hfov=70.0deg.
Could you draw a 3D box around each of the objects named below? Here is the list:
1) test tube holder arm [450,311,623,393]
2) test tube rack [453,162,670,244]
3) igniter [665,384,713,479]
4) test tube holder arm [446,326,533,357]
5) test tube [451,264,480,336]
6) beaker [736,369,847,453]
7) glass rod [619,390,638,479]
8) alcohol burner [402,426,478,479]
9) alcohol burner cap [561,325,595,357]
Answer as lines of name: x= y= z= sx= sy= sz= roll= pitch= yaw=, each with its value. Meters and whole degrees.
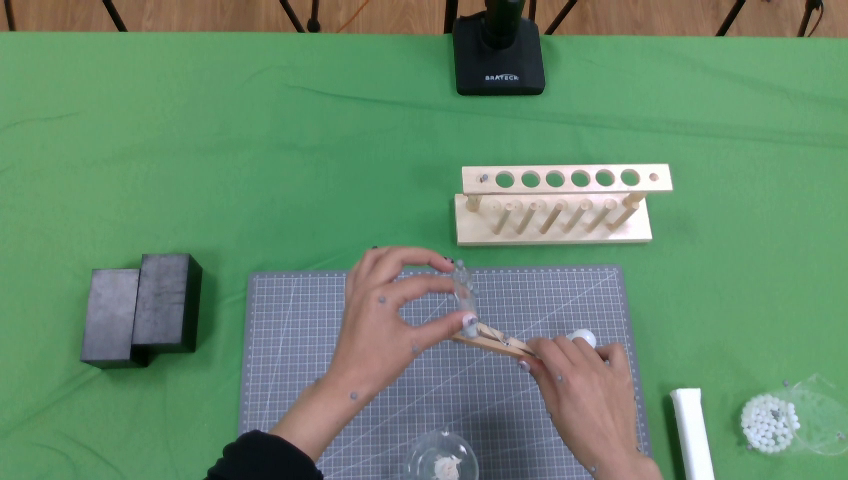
test tube holder arm: x=0.109 y=0.109 z=0.594 sx=0.178 sy=0.015 sz=0.013 roll=22 pitch=72 yaw=7
test tube rack: x=0.161 y=-0.044 z=0.726 sx=0.243 sy=0.085 sz=0.066 roll=-1 pitch=70 yaw=-4
igniter: x=0.297 y=0.294 z=0.643 sx=0.057 sy=0.025 sz=0.274 roll=2 pitch=70 yaw=-14
test tube holder arm: x=0.065 y=0.100 z=0.596 sx=0.088 sy=0.015 sz=0.010 roll=12 pitch=70 yaw=4
test tube: x=0.037 y=0.057 z=0.526 sx=0.017 sy=0.151 sz=0.017 roll=-3 pitch=64 yaw=7
beaker: x=0.393 y=0.187 z=0.651 sx=0.074 sy=0.101 sz=0.083 roll=12 pitch=68 yaw=1
glass rod: x=0.229 y=0.263 z=0.657 sx=0.008 sy=0.008 sz=0.198 roll=-1 pitch=70 yaw=-5
alcohol burner: x=0.017 y=0.223 z=0.600 sx=0.078 sy=0.120 sz=0.077 roll=1 pitch=67 yaw=-3
alcohol burner cap: x=0.178 y=0.113 z=0.690 sx=0.034 sy=0.048 sz=0.033 roll=1 pitch=70 yaw=-3
